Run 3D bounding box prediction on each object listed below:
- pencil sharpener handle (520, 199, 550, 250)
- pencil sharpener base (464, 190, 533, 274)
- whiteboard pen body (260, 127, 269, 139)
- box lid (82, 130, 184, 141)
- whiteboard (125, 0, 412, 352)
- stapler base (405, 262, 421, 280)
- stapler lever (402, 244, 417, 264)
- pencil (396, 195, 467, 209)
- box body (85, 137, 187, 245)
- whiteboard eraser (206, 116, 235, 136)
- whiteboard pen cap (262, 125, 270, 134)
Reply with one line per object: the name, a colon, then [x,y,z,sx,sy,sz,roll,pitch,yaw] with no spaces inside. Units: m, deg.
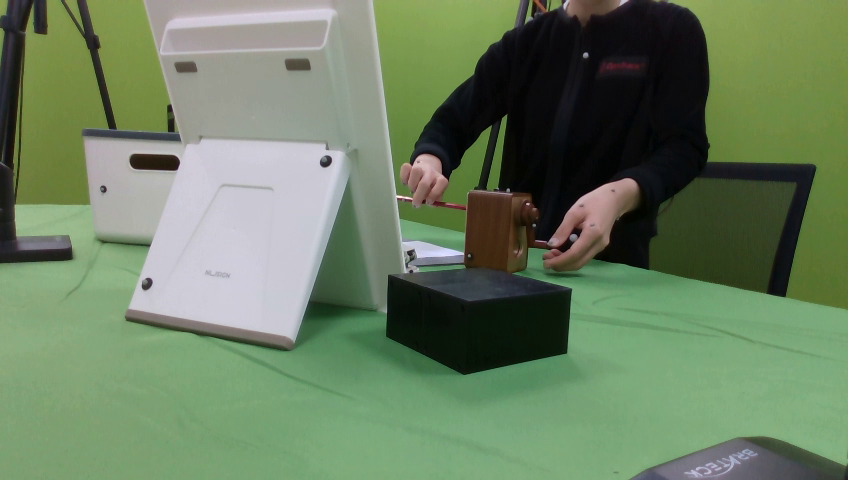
pencil sharpener handle: [0.147,-0.019,0.785,0.030,0.068,0.036,8,26,36]
pencil sharpener base: [0.103,-0.012,0.813,0.076,0.107,0.061,8,9,36]
whiteboard pen body: [-0.366,-0.247,1.392,0.017,0.017,0.140,0,3,-17]
box lid: [-0.337,-0.161,1.011,0.263,0.015,0.372,4,6,11]
whiteboard: [-0.151,-0.049,0.472,0.216,0.305,0.144,6,27,24]
stapler base: [-0.069,0.027,0.759,0.130,0.024,0.041,9,13,23]
stapler lever: [-0.066,0.003,0.755,0.117,0.040,0.027,9,13,23]
pencil: [0.000,-0.057,0.885,0.193,0.012,0.012,10,11,36]
box body: [-0.340,-0.088,1.022,0.254,0.160,0.364,4,7,11]
whiteboard eraser: [-0.450,-0.252,1.335,0.056,0.042,0.112,1,7,-22]
whiteboard pen cap: [-0.349,-0.244,1.336,0.018,0.018,0.033,0,2,-17]
